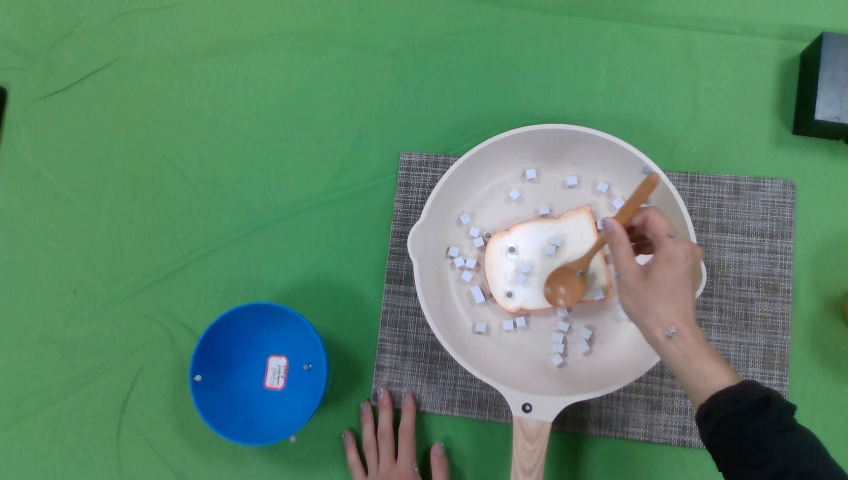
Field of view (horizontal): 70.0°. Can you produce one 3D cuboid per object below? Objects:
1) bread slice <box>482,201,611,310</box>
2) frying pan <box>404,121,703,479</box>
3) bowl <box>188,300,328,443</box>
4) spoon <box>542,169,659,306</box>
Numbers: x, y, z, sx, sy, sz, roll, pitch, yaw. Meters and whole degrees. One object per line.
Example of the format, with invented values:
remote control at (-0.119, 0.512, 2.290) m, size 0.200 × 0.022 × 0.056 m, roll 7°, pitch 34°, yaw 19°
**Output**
bread slice at (0.133, 0.026, 0.682) m, size 0.134 × 0.018 × 0.106 m, roll -16°, pitch 80°, yaw 3°
frying pan at (0.116, 0.119, 0.631) m, size 0.306 × 0.103 × 0.485 m, roll 8°, pitch 75°, yaw 8°
bowl at (-0.173, 0.143, 0.677) m, size 0.151 × 0.077 × 0.151 m, roll -1°, pitch 82°, yaw 6°
spoon at (0.172, 0.003, 0.600) m, size 0.041 × 0.195 × 0.021 m, roll 44°, pitch 49°, yaw 15°
